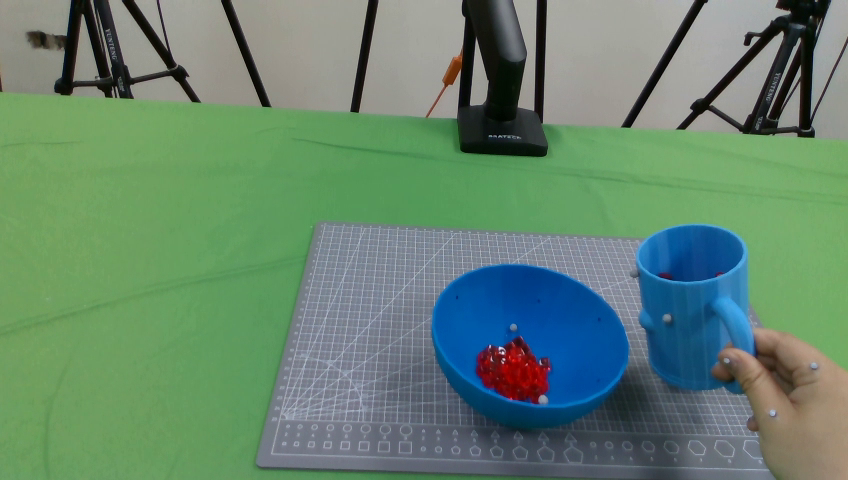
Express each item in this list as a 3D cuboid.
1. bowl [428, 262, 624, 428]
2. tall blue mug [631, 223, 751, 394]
[{"bbox_3d":[0.074,0.095,0.484,0.151,0.077,0.150,3,38,-2],"label":"bowl"},{"bbox_3d":[0.216,0.057,0.464,0.078,0.109,0.106,-32,33,-22],"label":"tall blue mug"}]
